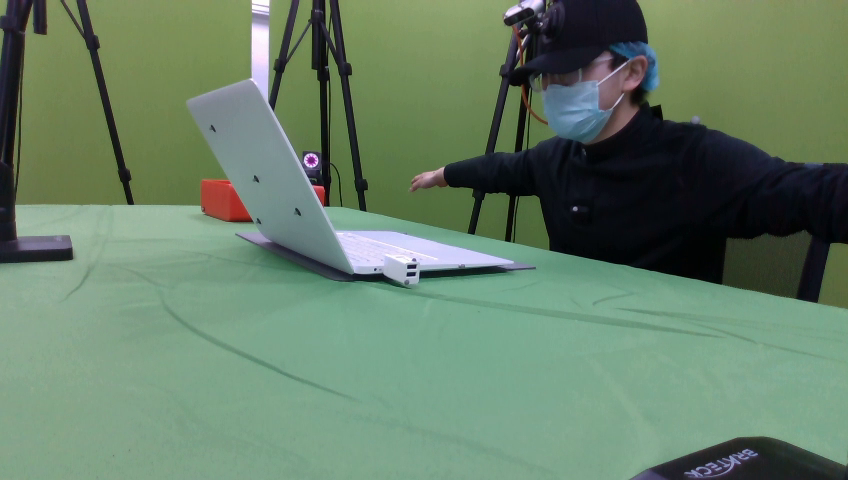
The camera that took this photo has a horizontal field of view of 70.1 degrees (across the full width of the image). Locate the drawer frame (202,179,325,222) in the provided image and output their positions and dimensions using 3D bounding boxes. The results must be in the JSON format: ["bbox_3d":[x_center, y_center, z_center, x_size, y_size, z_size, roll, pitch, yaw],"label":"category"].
[{"bbox_3d":[-0.361,-0.092,1.356,0.215,0.082,0.200,-4,10,-37],"label":"drawer frame"}]

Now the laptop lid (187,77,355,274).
[{"bbox_3d":[-0.211,-0.082,0.772,0.013,0.242,0.355,-34,25,-23],"label":"laptop lid"}]

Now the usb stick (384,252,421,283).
[{"bbox_3d":[-0.028,0.029,0.675,0.021,0.027,0.059,-3,10,-34],"label":"usb stick"}]

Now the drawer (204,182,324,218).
[{"bbox_3d":[-0.360,-0.091,1.358,0.213,0.073,0.193,-4,10,-36],"label":"drawer"}]

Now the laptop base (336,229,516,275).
[{"bbox_3d":[-0.066,0.014,0.877,0.237,0.023,0.352,2,7,-32],"label":"laptop base"}]
